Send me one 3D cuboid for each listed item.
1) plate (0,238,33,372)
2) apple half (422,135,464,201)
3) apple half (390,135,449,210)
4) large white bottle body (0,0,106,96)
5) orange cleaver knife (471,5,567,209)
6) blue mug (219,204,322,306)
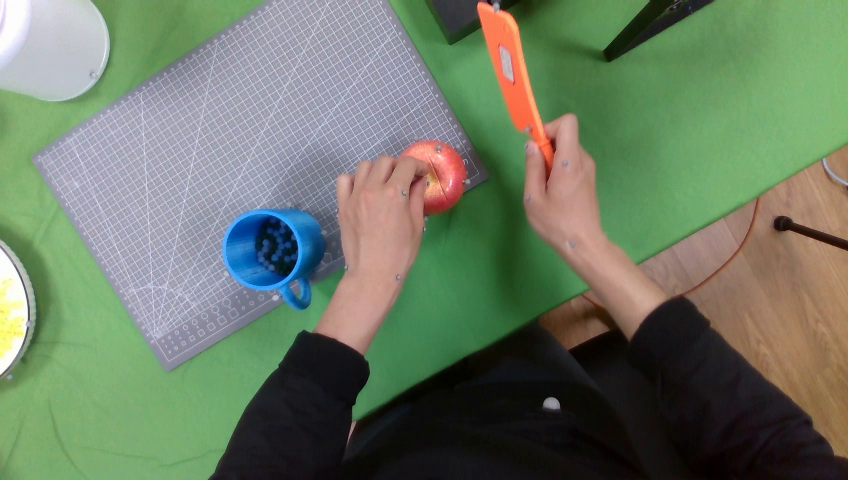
[{"bbox_3d":[-0.559,0.071,0.713,0.209,0.038,0.209,0,96,2],"label":"plate"},{"bbox_3d":[0.026,-0.084,0.657,0.033,0.081,0.081,-23,93,10],"label":"apple half"},{"bbox_3d":[-0.009,-0.069,0.662,0.053,0.074,0.081,-23,98,8],"label":"apple half"},{"bbox_3d":[-0.431,-0.224,0.609,0.130,0.184,0.130,0,94,3],"label":"large white bottle body"},{"bbox_3d":[0.094,-0.128,0.597,0.012,0.076,0.213,-30,115,-10],"label":"orange cleaver knife"},{"bbox_3d":[-0.156,0.017,0.658,0.082,0.106,0.116,-23,94,4],"label":"blue mug"}]
